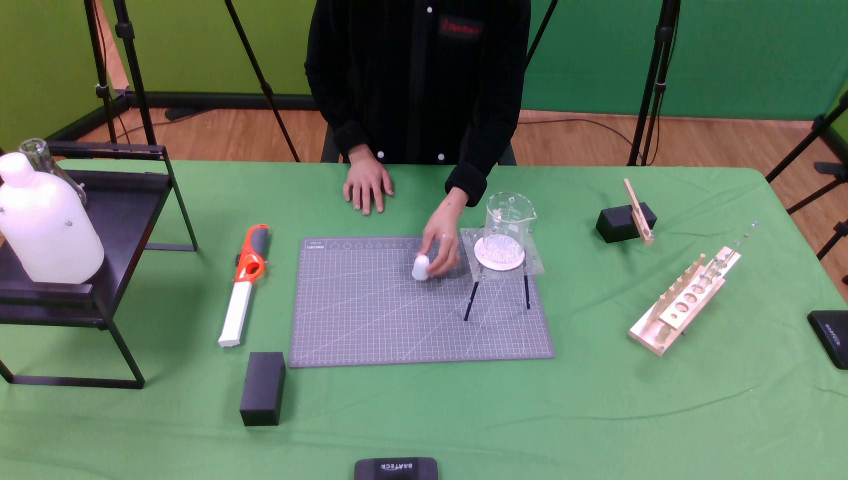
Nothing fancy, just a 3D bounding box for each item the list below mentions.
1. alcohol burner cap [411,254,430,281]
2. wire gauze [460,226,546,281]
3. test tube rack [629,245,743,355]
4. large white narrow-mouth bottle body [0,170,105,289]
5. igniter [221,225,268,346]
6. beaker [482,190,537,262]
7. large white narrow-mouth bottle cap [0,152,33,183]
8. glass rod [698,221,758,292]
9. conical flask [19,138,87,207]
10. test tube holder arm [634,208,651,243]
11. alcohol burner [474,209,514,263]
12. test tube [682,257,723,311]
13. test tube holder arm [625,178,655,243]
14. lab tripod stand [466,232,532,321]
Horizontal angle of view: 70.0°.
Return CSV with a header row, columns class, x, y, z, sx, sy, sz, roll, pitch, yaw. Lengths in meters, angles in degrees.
class,x,y,z,sx,sy,sz,roll,pitch,yaw
alcohol burner cap,-0.004,0.047,1.112,0.034,0.048,0.033,7,40,-6
wire gauze,0.130,0.017,1.016,0.121,0.011,0.124,-4,43,-9
test tube rack,0.474,0.095,1.091,0.242,0.085,0.066,-34,56,-31
large white narrow-mouth bottle body,-0.513,-0.029,0.818,0.102,0.195,0.101,2,46,-2
igniter,-0.323,0.072,1.100,0.057,0.025,0.274,-6,45,5
beaker,0.136,-0.019,0.983,0.084,0.101,0.073,17,47,14
large white narrow-mouth bottle cap,-0.510,-0.090,0.754,0.038,0.024,0.037,2,46,-2
glass rod,0.527,0.035,1.059,0.008,0.200,0.008,5,49,-6
conical flask,-0.576,-0.097,0.930,0.075,0.122,0.075,2,46,-2
test tube holder arm,0.428,-0.030,1.189,0.010,0.015,0.087,1,47,-2
alcohol burner,0.134,-0.013,1.150,0.078,0.120,0.077,0,47,0
test tube,0.475,0.080,1.037,0.017,0.151,0.017,1,50,-1
test tube holder arm,0.433,-0.062,1.220,0.013,0.015,0.177,1,47,-3
lab tripod stand,0.124,0.060,1.065,0.148,0.132,0.147,1,45,0
